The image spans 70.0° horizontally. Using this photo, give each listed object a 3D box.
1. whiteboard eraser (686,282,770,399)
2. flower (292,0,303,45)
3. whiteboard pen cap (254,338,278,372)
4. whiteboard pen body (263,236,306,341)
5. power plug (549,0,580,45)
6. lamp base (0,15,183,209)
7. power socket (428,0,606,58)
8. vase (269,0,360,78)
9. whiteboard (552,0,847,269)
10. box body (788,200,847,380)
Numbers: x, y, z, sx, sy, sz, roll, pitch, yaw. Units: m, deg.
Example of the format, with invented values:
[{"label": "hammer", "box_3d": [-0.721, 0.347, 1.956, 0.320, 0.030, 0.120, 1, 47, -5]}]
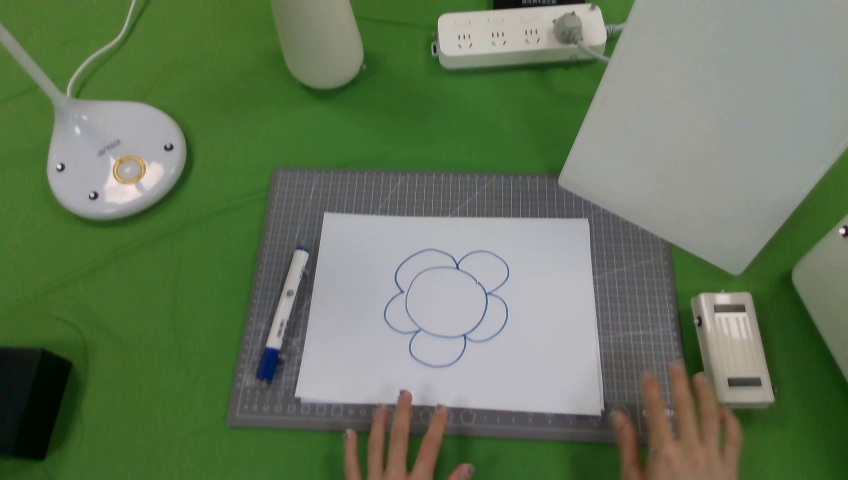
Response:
[{"label": "whiteboard eraser", "box_3d": [0.295, 0.098, 0.594, 0.055, 0.042, 0.112, 0, 66, 0]}, {"label": "flower", "box_3d": [-0.116, -0.303, 0.608, 0.044, 0.362, 0.038, -39, 87, -23]}, {"label": "whiteboard pen cap", "box_3d": [-0.158, 0.115, 0.610, 0.018, 0.018, 0.033, 9, 69, 6]}, {"label": "whiteboard pen body", "box_3d": [-0.148, 0.062, 0.630, 0.017, 0.017, 0.140, 10, 69, 7]}, {"label": "power plug", "box_3d": [0.169, -0.257, 0.735, 0.035, 0.053, 0.072, 6, 73, 5]}, {"label": "lamp base", "box_3d": [-0.377, -0.146, 0.646, 0.178, 0.181, 0.160, 33, 70, 18]}, {"label": "power socket", "box_3d": [0.118, -0.272, 0.768, 0.227, 0.033, 0.071, -3, 67, 0]}, {"label": "vase", "box_3d": [-0.132, -0.277, 0.687, 0.098, 0.201, 0.097, -1, 65, 3]}, {"label": "whiteboard", "box_3d": [0.297, -0.160, 0.598, 0.216, 0.307, 0.143, 31, 50, 15]}, {"label": "box body", "box_3d": [0.530, 0.106, 0.517, 0.254, 0.161, 0.361, -15, 66, -5]}]
